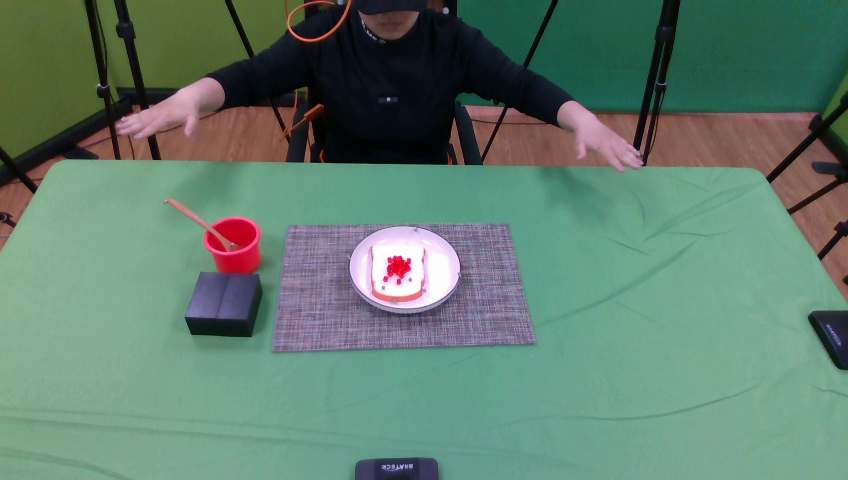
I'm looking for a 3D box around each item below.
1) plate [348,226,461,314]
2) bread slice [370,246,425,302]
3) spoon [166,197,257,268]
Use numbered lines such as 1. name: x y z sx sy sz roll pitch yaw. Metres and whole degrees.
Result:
1. plate: -0.035 0.058 1.123 0.209 0.038 0.208 2 46 -2
2. bread slice: -0.048 0.060 1.123 0.105 0.019 0.130 0 45 -3
3. spoon: -0.383 -0.014 1.100 0.194 0.021 0.041 45 46 -22
